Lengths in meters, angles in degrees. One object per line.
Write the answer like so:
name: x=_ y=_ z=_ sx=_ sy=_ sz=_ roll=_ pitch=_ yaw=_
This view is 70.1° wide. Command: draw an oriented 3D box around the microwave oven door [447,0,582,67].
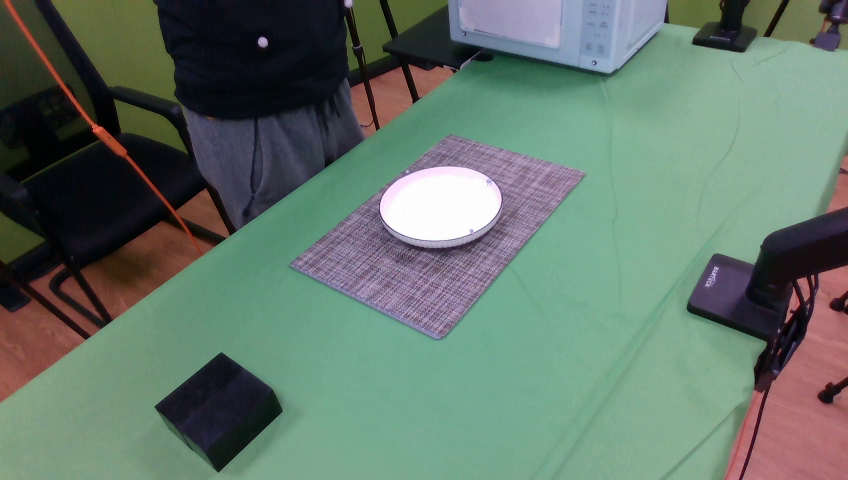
microwave oven door: x=0.203 y=-0.544 z=1.372 sx=0.353 sy=0.245 sz=0.039 roll=23 pitch=49 yaw=29

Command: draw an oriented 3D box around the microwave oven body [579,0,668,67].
microwave oven body: x=0.325 y=-0.609 z=1.437 sx=0.438 sy=0.261 sz=0.327 roll=23 pitch=49 yaw=30

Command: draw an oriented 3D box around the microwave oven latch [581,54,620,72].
microwave oven latch: x=0.386 y=-0.393 z=1.330 sx=0.078 sy=0.029 sz=0.030 roll=25 pitch=51 yaw=32

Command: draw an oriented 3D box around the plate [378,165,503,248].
plate: x=0.029 y=-0.053 z=1.008 sx=0.209 sy=0.038 sz=0.208 roll=-3 pitch=41 yaw=3
